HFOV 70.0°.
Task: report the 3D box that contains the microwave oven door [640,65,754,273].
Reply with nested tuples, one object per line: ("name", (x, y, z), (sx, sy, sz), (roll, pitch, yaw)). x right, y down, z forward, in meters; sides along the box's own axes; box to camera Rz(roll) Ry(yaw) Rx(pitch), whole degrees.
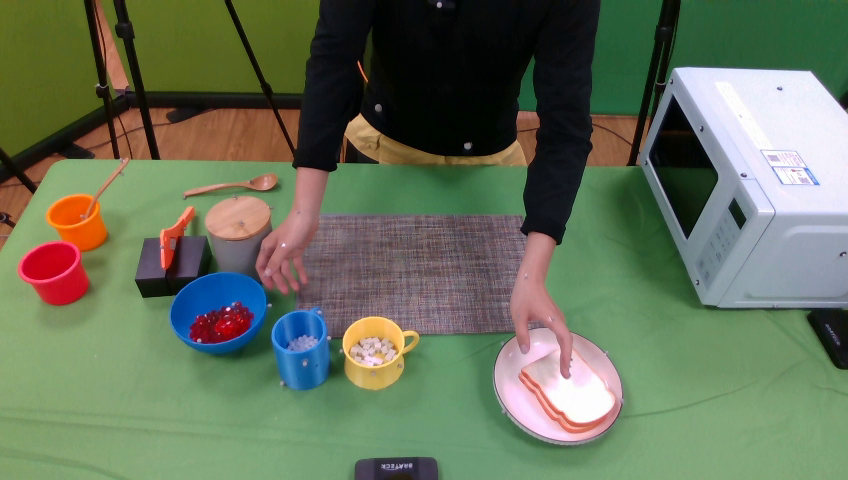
("microwave oven door", (0.522, -0.147, 1.193), (0.039, 0.245, 0.353), (0, 47, -3))

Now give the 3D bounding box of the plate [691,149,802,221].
("plate", (0.652, -0.108, 1.238), (0.209, 0.038, 0.208), (-1, 46, 1))

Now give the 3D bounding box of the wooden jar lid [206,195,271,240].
("wooden jar lid", (-0.319, -0.036, 1.046), (0.108, 0.021, 0.107), (1, 44, -1))

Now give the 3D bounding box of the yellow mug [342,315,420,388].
("yellow mug", (-0.067, 0.177, 0.990), (0.131, 0.064, 0.099), (-16, 50, -19))

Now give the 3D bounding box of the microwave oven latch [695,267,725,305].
("microwave oven latch", (0.524, 0.082, 1.115), (0.030, 0.029, 0.078), (5, 46, 2))

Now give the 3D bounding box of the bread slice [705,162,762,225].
("bread slice", (0.649, -0.103, 1.264), (0.105, 0.019, 0.131), (13, 71, 10))

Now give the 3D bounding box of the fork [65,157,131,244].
("fork", (-0.609, -0.074, 1.133), (0.207, 0.019, 0.028), (-52, 51, 10))

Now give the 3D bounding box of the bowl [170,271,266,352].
("bowl", (-0.333, 0.132, 1.006), (0.151, 0.077, 0.150), (2, 46, -2))

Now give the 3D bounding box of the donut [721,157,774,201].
("donut", (0.648, -0.123, 1.215), (0.099, 0.048, 0.098), (-3, 55, 5))

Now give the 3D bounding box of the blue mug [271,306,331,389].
("blue mug", (-0.188, 0.163, 0.969), (0.082, 0.106, 0.116), (15, 47, 10))

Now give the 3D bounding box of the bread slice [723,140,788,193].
("bread slice", (0.661, -0.147, 1.201), (0.107, 0.018, 0.133), (0, 53, 9))

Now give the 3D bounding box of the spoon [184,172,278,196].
("spoon", (-0.406, -0.116, 1.275), (0.194, 0.022, 0.041), (-8, 65, -12))

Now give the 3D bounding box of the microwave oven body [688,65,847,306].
("microwave oven body", (0.669, -0.111, 1.176), (0.326, 0.261, 0.439), (0, 46, -3))

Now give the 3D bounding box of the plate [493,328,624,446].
("plate", (0.213, 0.236, 0.974), (0.208, 0.039, 0.206), (2, 46, -2))

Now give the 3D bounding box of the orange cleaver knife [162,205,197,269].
("orange cleaver knife", (-0.454, -0.010, 1.129), (0.012, 0.077, 0.210), (-1, 20, -5))

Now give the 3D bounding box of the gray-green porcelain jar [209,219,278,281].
("gray-green porcelain jar", (-0.322, 0.007, 1.093), (0.106, 0.127, 0.105), (1, 47, -1))
